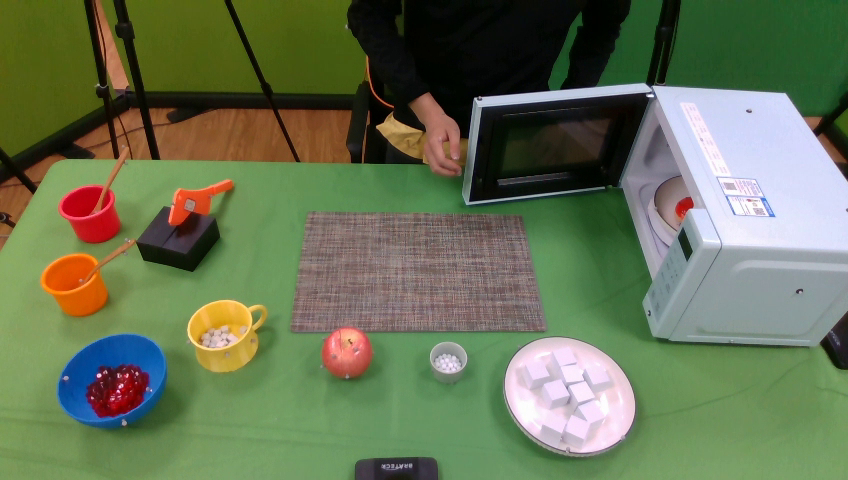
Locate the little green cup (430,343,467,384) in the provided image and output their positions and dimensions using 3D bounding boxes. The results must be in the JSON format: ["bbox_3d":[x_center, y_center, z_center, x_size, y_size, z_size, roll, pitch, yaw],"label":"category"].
[{"bbox_3d":[0.039,0.203,0.994,0.061,0.039,0.061,2,46,-2],"label":"little green cup"}]

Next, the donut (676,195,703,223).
[{"bbox_3d":[0.538,-0.049,1.171,0.099,0.048,0.098,2,44,-2],"label":"donut"}]

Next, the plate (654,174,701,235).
[{"bbox_3d":[0.555,-0.049,1.187,0.209,0.038,0.208,2,46,-2],"label":"plate"}]

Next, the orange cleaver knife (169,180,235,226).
[{"bbox_3d":[-0.435,-0.076,1.199,0.012,0.077,0.211,17,17,9],"label":"orange cleaver knife"}]

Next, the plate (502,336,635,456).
[{"bbox_3d":[0.225,0.248,0.963,0.208,0.039,0.206,2,46,-2],"label":"plate"}]

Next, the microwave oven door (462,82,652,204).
[{"bbox_3d":[0.262,-0.194,1.226,0.356,0.245,0.039,-8,47,-11],"label":"microwave oven door"}]

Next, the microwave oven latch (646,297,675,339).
[{"bbox_3d":[0.412,0.134,1.061,0.030,0.029,0.078,4,45,1],"label":"microwave oven latch"}]

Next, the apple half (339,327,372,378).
[{"bbox_3d":[-0.111,0.182,0.980,0.053,0.075,0.080,-2,42,-12],"label":"apple half"}]

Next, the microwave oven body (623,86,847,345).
[{"bbox_3d":[0.567,-0.053,1.118,0.326,0.261,0.439,2,45,-1],"label":"microwave oven body"}]

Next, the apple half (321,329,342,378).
[{"bbox_3d":[-0.149,0.186,0.972,0.033,0.081,0.080,-2,46,-13],"label":"apple half"}]

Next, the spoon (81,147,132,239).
[{"bbox_3d":[-0.603,-0.089,1.156,0.041,0.022,0.193,28,94,18],"label":"spoon"}]

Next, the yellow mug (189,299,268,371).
[{"bbox_3d":[-0.316,0.148,1.002,0.131,0.064,0.099,-33,56,-31],"label":"yellow mug"}]

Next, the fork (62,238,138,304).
[{"bbox_3d":[-0.547,0.053,1.018,0.207,0.019,0.028,-36,41,23],"label":"fork"}]

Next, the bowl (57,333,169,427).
[{"bbox_3d":[-0.456,0.223,0.912,0.151,0.077,0.150,3,45,-2],"label":"bowl"}]
